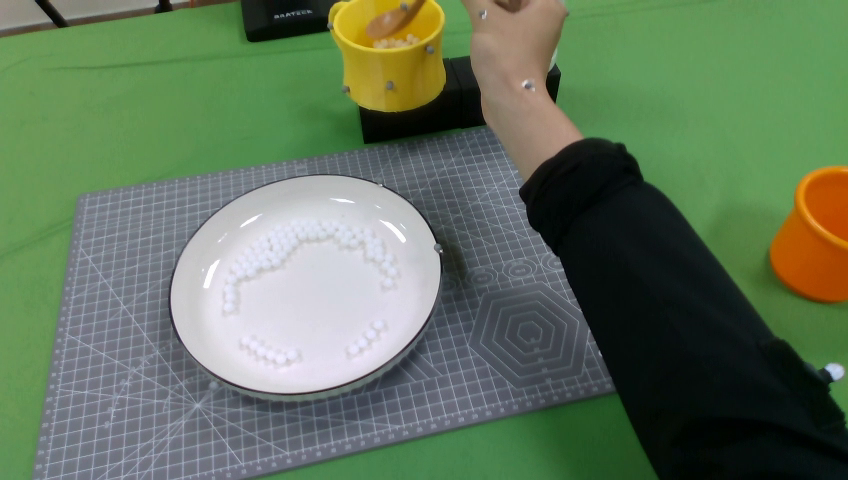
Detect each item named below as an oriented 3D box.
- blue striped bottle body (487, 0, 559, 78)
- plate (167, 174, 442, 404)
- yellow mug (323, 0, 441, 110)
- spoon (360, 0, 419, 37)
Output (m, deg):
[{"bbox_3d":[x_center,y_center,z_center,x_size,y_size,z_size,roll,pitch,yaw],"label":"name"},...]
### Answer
[{"bbox_3d":[0.092,-0.217,0.557,0.063,0.122,0.062,-1,52,1],"label":"blue striped bottle body"},{"bbox_3d":[-0.089,0.035,0.476,0.208,0.039,0.205,0,52,1],"label":"plate"},{"bbox_3d":[-0.047,-0.185,0.570,0.130,0.064,0.100,30,58,24],"label":"yellow mug"},{"bbox_3d":[0.008,-0.206,0.489,0.193,0.022,0.041,-11,44,52],"label":"spoon"}]
